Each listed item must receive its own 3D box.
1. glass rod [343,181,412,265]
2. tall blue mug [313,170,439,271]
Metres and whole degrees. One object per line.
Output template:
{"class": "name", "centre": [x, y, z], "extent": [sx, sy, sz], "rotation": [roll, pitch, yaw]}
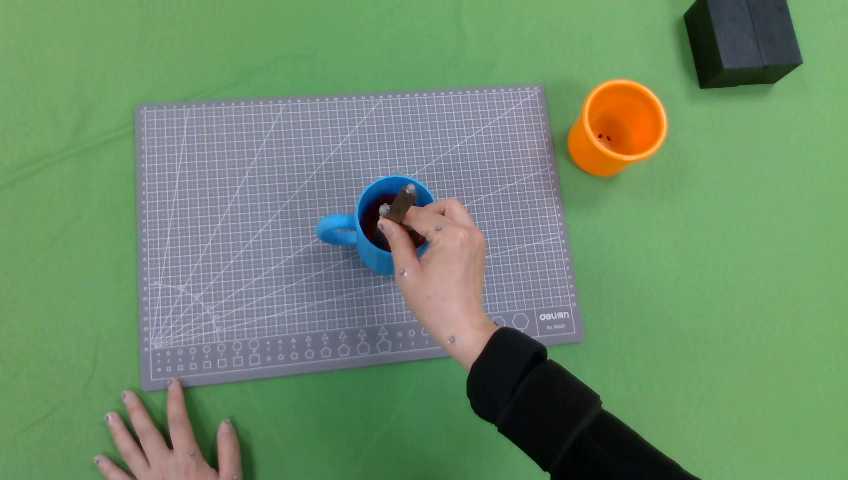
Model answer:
{"class": "glass rod", "centre": [-0.044, -0.009, 0.522], "extent": [0.008, 0.200, 0.008], "rotation": [7, 69, -19]}
{"class": "tall blue mug", "centre": [-0.044, -0.009, 0.590], "extent": [0.107, 0.108, 0.077], "rotation": [-29, 83, -12]}
